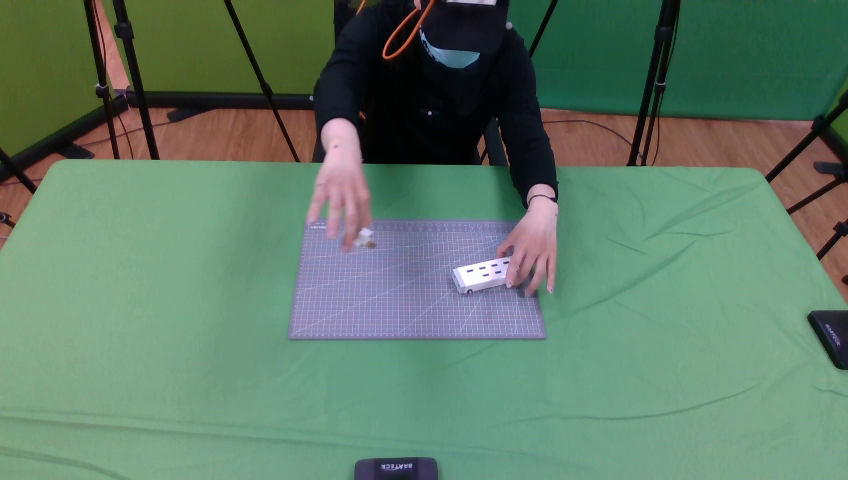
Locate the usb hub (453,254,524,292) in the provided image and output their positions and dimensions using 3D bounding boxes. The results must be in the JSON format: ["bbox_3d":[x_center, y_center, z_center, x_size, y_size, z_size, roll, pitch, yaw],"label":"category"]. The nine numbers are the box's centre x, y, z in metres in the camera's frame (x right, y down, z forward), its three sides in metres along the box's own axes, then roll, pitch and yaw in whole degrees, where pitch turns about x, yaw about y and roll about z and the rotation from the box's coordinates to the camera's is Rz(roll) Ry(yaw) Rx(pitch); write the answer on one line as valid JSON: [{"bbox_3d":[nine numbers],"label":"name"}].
[{"bbox_3d":[0.121,0.062,1.135,0.125,0.025,0.049,-12,49,-13],"label":"usb hub"}]

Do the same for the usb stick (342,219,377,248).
[{"bbox_3d":[-0.101,-0.008,0.973,0.059,0.027,0.021,29,30,9],"label":"usb stick"}]
